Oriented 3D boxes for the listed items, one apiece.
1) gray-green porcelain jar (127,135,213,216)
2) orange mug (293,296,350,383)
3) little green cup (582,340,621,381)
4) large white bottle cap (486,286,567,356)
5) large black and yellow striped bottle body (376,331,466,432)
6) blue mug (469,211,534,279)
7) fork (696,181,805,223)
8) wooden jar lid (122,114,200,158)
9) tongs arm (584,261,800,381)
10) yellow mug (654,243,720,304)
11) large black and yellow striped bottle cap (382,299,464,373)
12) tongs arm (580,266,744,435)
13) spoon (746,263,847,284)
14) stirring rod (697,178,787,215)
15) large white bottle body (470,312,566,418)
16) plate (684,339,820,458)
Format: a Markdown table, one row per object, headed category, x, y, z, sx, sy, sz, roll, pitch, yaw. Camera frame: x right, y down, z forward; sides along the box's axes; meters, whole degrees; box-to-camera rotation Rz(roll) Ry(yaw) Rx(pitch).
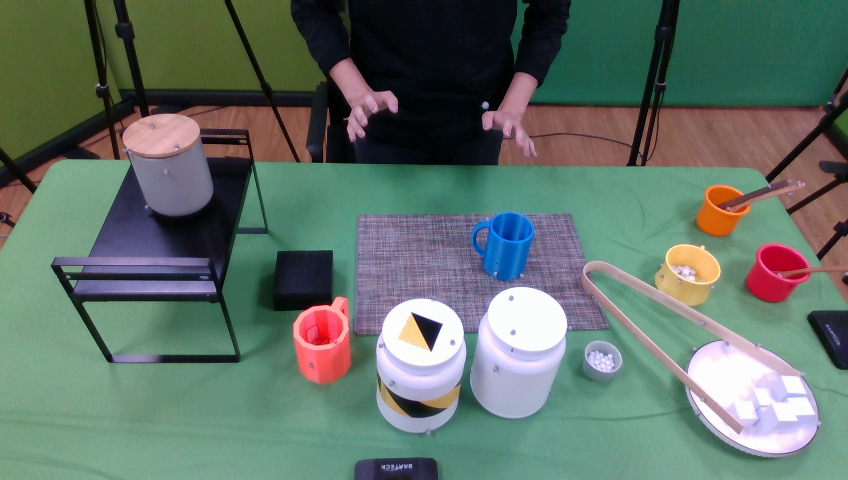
| category | x | y | z | sx | sy | sz | roll | pitch | yaw |
| --- | --- | --- | --- | --- | --- | --- | --- | --- | --- |
| gray-green porcelain jar | -0.394 | -0.109 | 0.949 | 0.106 | 0.127 | 0.105 | 3 | 46 | -2 |
| orange mug | -0.157 | 0.154 | 0.985 | 0.083 | 0.101 | 0.125 | 17 | 52 | 11 |
| little green cup | 0.295 | 0.204 | 1.015 | 0.061 | 0.039 | 0.061 | 2 | 45 | -2 |
| large white bottle cap | 0.147 | 0.114 | 0.869 | 0.115 | 0.018 | 0.114 | 3 | 46 | -3 |
| large black and yellow striped bottle body | -0.007 | 0.189 | 0.905 | 0.131 | 0.185 | 0.130 | 2 | 46 | -2 |
| blue mug | 0.141 | 0.005 | 1.140 | 0.116 | 0.106 | 0.082 | 18 | 48 | 13 |
| fork | 0.659 | -0.077 | 1.232 | 0.207 | 0.019 | 0.028 | -26 | 35 | 34 |
| wooden jar lid | -0.390 | -0.152 | 0.904 | 0.108 | 0.021 | 0.107 | 3 | 45 | -3 |
| tongs arm | 0.452 | 0.137 | 1.064 | 0.051 | 0.027 | 0.382 | -34 | 50 | -27 |
| yellow mug | 0.504 | 0.054 | 1.154 | 0.099 | 0.064 | 0.130 | 28 | 50 | 22 |
| large black and yellow striped bottle cap | -0.002 | 0.132 | 0.843 | 0.115 | 0.019 | 0.114 | 2 | 46 | -1 |
| tongs arm | 0.384 | 0.173 | 1.028 | 0.028 | 0.028 | 0.385 | -25 | 46 | -15 |
| spoon | 0.696 | 0.057 | 1.113 | 0.193 | 0.022 | 0.041 | -16 | 27 | 48 |
| stirring rod | 0.650 | -0.088 | 1.246 | 0.006 | 0.176 | 0.014 | 29 | 50 | -39 |
| large white bottle body | 0.143 | 0.173 | 0.930 | 0.131 | 0.185 | 0.130 | 2 | 46 | -2 |
| plate | 0.523 | 0.256 | 0.982 | 0.208 | 0.039 | 0.206 | 2 | 46 | -2 |
